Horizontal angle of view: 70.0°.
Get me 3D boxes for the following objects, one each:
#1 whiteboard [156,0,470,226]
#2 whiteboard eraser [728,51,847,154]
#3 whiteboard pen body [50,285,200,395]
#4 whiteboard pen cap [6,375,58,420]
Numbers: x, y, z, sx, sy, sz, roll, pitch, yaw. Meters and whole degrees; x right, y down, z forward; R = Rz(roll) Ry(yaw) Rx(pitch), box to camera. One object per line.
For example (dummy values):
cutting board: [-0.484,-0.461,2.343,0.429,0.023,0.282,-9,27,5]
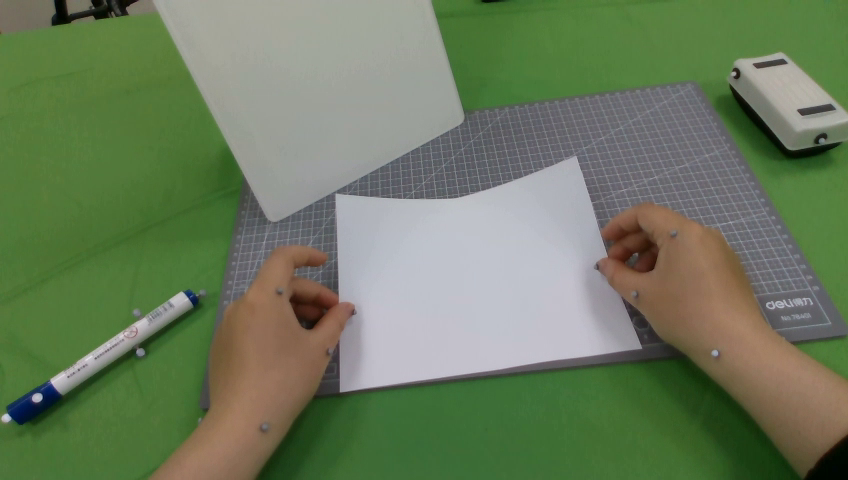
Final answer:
whiteboard: [-0.120,-0.210,0.540,0.217,0.308,0.142,-30,31,-17]
whiteboard eraser: [0.324,-0.122,0.540,0.055,0.042,0.111,-12,49,-1]
whiteboard pen body: [-0.231,0.079,0.452,0.140,0.017,0.017,-38,55,-24]
whiteboard pen cap: [-0.274,0.110,0.428,0.033,0.018,0.018,-38,55,-25]
